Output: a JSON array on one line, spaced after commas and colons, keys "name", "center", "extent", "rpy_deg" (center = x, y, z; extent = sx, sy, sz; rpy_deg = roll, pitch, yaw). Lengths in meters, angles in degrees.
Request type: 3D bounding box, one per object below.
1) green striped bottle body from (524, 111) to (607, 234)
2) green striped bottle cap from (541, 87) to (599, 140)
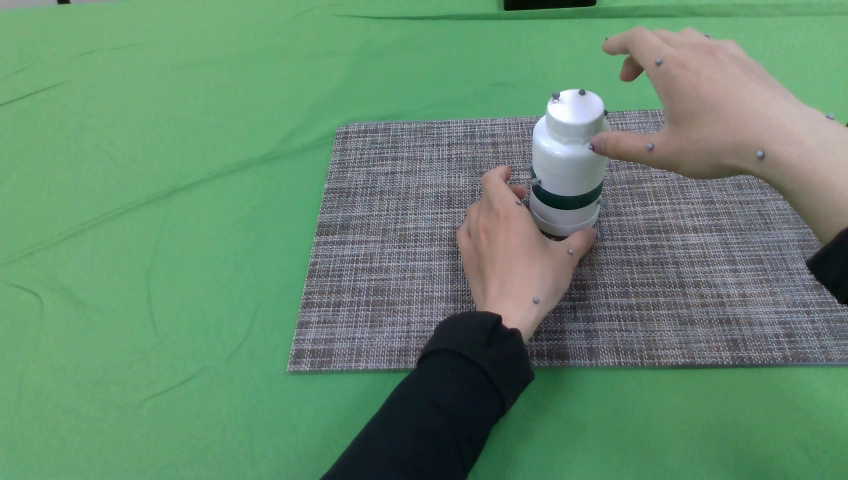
[{"name": "green striped bottle body", "center": [0.118, -0.066, 0.513], "extent": [0.063, 0.120, 0.062], "rpy_deg": [-3, 50, 4]}, {"name": "green striped bottle cap", "center": [0.114, -0.099, 0.473], "extent": [0.044, 0.020, 0.044], "rpy_deg": [-4, 52, 5]}]
